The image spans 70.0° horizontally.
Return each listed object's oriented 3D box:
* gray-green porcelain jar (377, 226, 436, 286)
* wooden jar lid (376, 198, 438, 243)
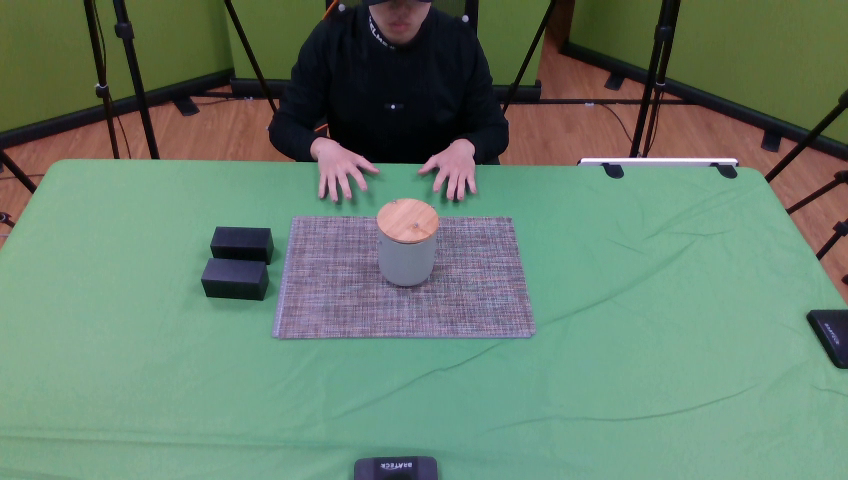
[{"bbox_3d":[-0.033,0.014,1.106,0.106,0.127,0.105,2,46,-2],"label":"gray-green porcelain jar"},{"bbox_3d":[-0.029,-0.031,1.059,0.108,0.021,0.107,2,45,-2],"label":"wooden jar lid"}]
